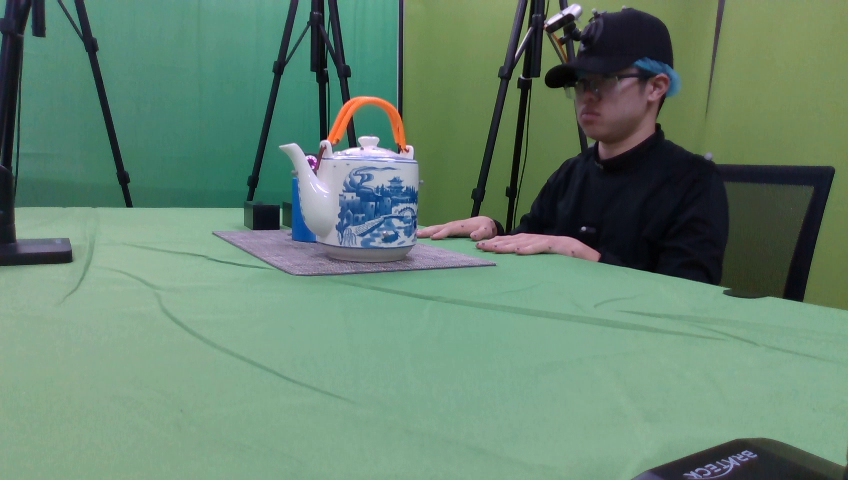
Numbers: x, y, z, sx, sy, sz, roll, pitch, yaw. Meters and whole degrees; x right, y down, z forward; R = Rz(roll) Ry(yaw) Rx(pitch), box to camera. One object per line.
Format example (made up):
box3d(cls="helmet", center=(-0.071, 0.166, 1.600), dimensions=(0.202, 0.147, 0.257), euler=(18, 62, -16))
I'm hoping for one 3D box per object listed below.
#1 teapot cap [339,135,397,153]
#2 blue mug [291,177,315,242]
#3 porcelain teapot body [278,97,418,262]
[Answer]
box3d(cls="teapot cap", center=(-0.080, -0.126, 0.853), dimensions=(0.085, 0.044, 0.085), euler=(-1, 5, 0))
box3d(cls="blue mug", center=(-0.170, -0.054, 1.037), dimensions=(0.117, 0.106, 0.082), euler=(-2, 9, -31))
box3d(cls="porcelain teapot body", center=(-0.104, -0.086, 0.842), dimensions=(0.206, 0.225, 0.144), euler=(-4, 10, -38))
